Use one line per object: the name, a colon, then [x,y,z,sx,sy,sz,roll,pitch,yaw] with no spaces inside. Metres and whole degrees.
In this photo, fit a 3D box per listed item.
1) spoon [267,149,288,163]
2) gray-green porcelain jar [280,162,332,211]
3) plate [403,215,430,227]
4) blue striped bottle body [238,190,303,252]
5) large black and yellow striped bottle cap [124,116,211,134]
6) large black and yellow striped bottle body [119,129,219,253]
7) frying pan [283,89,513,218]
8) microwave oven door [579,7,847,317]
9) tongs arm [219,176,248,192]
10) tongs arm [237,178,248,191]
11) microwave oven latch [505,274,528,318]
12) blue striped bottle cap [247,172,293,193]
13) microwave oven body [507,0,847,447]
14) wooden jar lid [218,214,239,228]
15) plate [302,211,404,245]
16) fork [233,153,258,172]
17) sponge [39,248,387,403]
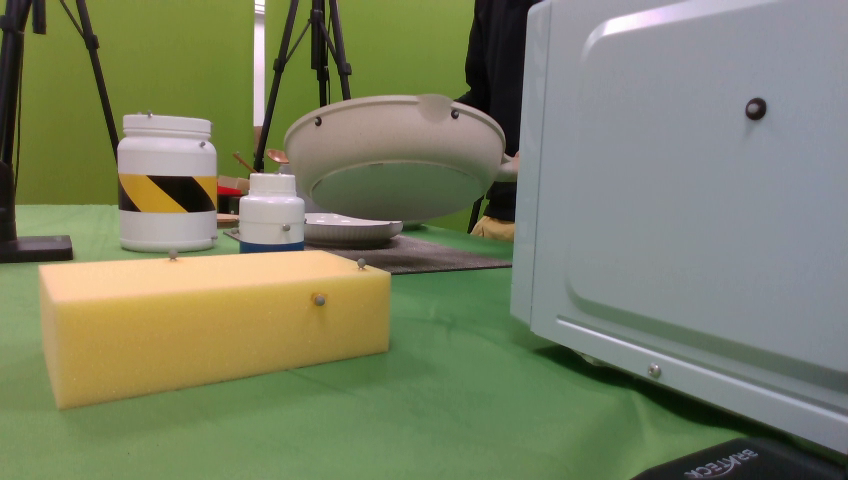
spoon: [-0.216,-0.168,1.220,0.194,0.021,0.041,-1,39,-14]
gray-green porcelain jar: [-0.238,-0.092,1.221,0.106,0.126,0.106,2,8,0]
plate: [-0.089,-0.053,1.309,0.208,0.039,0.207,2,8,0]
blue striped bottle body: [-0.153,-0.007,0.605,0.063,0.120,0.063,2,7,0]
large black and yellow striped bottle cap: [-0.366,-0.163,0.866,0.115,0.019,0.115,3,7,0]
large black and yellow striped bottle body: [-0.367,-0.080,0.876,0.131,0.184,0.130,2,7,0]
frying pan: [0.060,-0.106,0.834,0.490,0.102,0.306,-6,-13,-21]
microwave oven door: [0.294,-0.067,0.570,0.358,0.243,0.039,-3,9,-31]
tongs arm: [-0.286,-0.104,1.445,0.389,0.027,0.028,9,-4,-23]
tongs arm: [-0.242,-0.095,1.374,0.387,0.026,0.050,9,0,-37]
microwave oven latch: [0.100,0.041,0.472,0.079,0.029,0.030,-2,8,-31]
blue striped bottle cap: [-0.152,-0.057,0.598,0.044,0.020,0.044,3,6,0]
microwave oven body: [0.331,-0.042,0.425,0.444,0.260,0.324,-2,8,-31]
wooden jar lid: [-0.404,-0.037,1.169,0.108,0.020,0.108,3,7,0]
plate: [-0.139,-0.022,1.021,0.209,0.038,0.209,2,8,0]
fork: [-0.396,-0.144,1.486,0.028,0.018,0.208,20,-25,45]
sponge: [-0.142,0.047,0.420,0.208,0.061,0.117,-3,8,-36]
